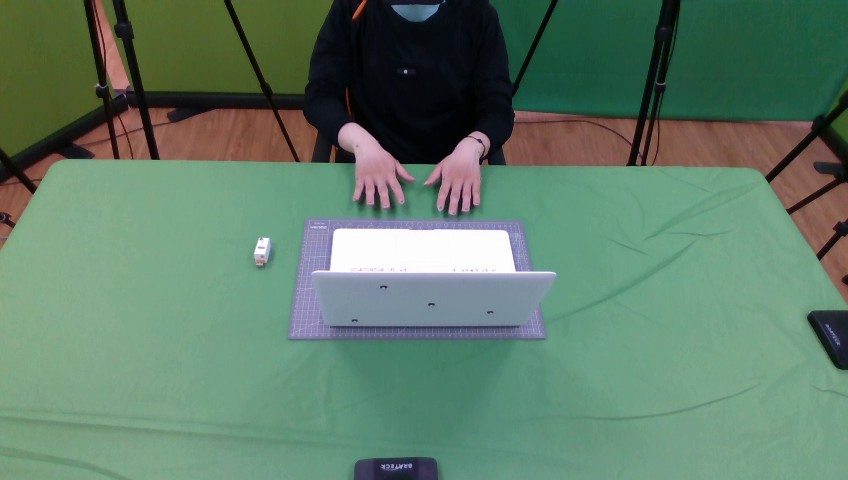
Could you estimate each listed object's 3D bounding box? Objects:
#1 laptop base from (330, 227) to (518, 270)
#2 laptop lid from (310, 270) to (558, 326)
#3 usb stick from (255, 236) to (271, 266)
[{"bbox_3d":[0.001,0.063,1.134,0.354,0.023,0.234,0,43,-3],"label":"laptop base"},{"bbox_3d":[0.011,0.095,0.948,0.357,0.242,0.013,1,64,-5],"label":"laptop lid"},{"bbox_3d":[-0.306,0.022,1.148,0.021,0.027,0.059,3,50,-2],"label":"usb stick"}]
